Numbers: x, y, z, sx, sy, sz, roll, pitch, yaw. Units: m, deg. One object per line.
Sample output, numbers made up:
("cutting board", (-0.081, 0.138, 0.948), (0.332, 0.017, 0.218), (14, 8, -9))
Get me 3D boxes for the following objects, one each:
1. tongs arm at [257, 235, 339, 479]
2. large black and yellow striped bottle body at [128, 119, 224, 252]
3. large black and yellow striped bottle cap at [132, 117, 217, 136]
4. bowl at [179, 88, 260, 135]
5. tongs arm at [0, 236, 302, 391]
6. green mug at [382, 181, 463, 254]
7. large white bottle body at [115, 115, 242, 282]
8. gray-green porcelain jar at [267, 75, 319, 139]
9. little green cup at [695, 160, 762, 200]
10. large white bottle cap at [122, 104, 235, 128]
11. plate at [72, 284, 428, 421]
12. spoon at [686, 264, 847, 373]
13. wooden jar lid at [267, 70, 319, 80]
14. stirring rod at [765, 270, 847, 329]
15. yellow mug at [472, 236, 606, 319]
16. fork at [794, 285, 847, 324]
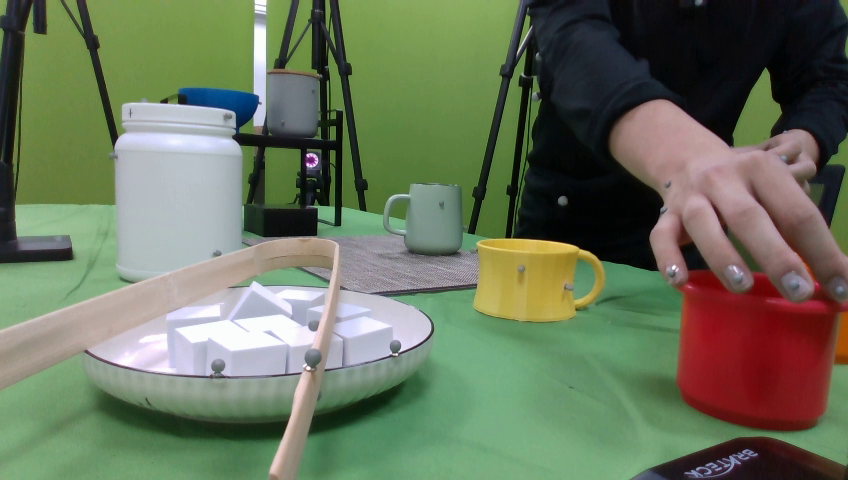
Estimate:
("tongs arm", (-0.074, 0.040, 0.345), (0.051, 0.026, 0.384), (-1, 10, -3))
("large black and yellow striped bottle body", (-0.361, -0.081, 0.887), (0.131, 0.184, 0.130), (2, 8, 0))
("large black and yellow striped bottle cap", (-0.359, -0.164, 0.875), (0.115, 0.019, 0.115), (2, 6, 0))
("bowl", (-0.400, -0.248, 1.188), (0.151, 0.077, 0.151), (3, 6, 0))
("tongs arm", (-0.157, 0.037, 0.347), (0.028, 0.028, 0.388), (-2, 8, 11))
("green mug", (-0.001, -0.036, 0.922), (0.126, 0.105, 0.092), (0, 8, -16))
("large white bottle body", (-0.270, -0.051, 0.674), (0.131, 0.184, 0.130), (2, 8, 0))
("gray-green porcelain jar", (-0.277, -0.279, 1.280), (0.106, 0.126, 0.106), (2, 8, 0))
("little green cup", (0.305, -0.060, 0.608), (0.061, 0.038, 0.061), (-1, 5, 0))
("large white bottle cap", (-0.266, -0.135, 0.663), (0.115, 0.018, 0.115), (3, 8, 0))
("plate", (-0.102, 0.067, 0.381), (0.208, 0.039, 0.207), (3, 7, 0))
("spoon", (0.215, 0.032, 0.328), (0.042, 0.021, 0.193), (-3, -35, -26))
("wooden jar lid", (-0.275, -0.339, 1.271), (0.108, 0.020, 0.108), (5, 6, 0))
("stirring rod", (0.351, 0.020, 0.481), (0.176, 0.006, 0.014), (-39, -7, 17))
("yellow mug", (0.114, 0.034, 0.590), (0.131, 0.064, 0.100), (2, 7, -7))
("fork", (0.332, 0.018, 0.443), (0.028, 0.018, 0.207), (-3, -35, -16))
